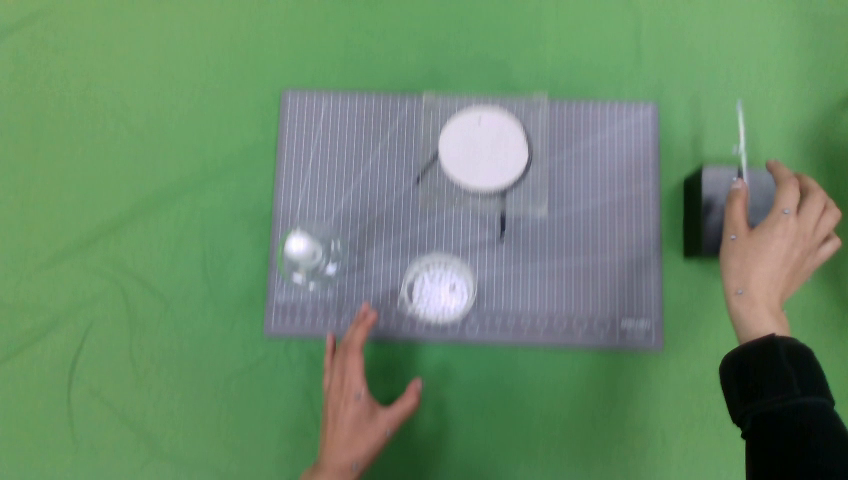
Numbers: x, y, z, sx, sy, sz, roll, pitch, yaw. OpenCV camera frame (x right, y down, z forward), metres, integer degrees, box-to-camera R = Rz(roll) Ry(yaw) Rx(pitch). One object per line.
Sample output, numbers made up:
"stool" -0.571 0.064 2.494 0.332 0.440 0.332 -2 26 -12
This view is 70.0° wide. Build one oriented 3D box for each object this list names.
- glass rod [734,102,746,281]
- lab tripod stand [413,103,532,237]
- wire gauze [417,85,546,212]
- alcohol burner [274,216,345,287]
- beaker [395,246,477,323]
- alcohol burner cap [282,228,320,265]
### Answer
"glass rod" 0.344 -0.054 0.660 0.008 0.008 0.199 2 83 0
"lab tripod stand" 0.060 -0.083 0.644 0.148 0.132 0.148 0 80 1
"wire gauze" 0.056 -0.089 0.578 0.125 0.011 0.121 3 82 0
"alcohol burner" -0.124 0.010 0.640 0.078 0.119 0.077 0 83 -1
"beaker" 0.011 0.053 0.642 0.084 0.100 0.073 -25 82 -4
"alcohol burner cap" -0.125 0.005 0.605 0.034 0.048 0.033 -1 76 3
